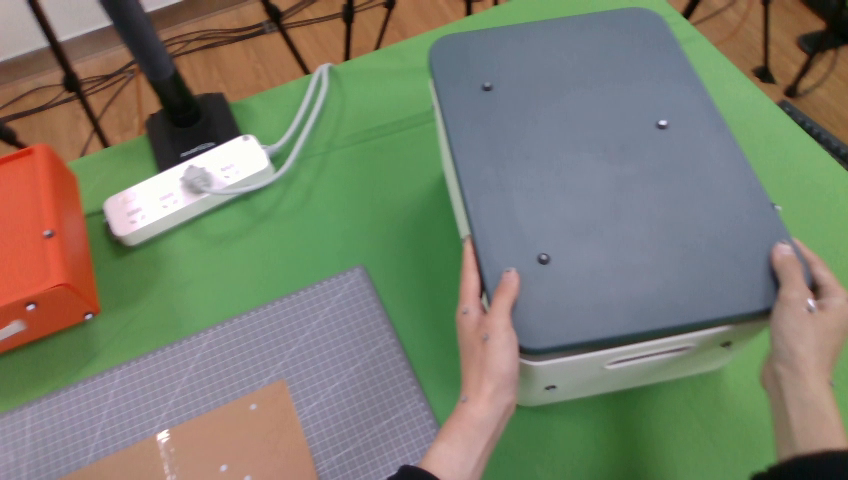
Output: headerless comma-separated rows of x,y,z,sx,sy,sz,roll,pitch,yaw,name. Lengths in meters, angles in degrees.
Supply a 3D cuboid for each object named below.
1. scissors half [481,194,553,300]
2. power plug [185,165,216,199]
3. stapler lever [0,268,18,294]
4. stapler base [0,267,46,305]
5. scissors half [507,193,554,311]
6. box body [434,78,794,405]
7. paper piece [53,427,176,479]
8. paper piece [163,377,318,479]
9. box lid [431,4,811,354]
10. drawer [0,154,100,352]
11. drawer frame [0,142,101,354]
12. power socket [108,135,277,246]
0.117,0.002,0.723,0.040,0.013,0.174,31,59,14,scissors half
-0.278,-0.062,0.759,0.035,0.053,0.072,-19,59,-8,power plug
-0.496,0.041,0.650,0.118,0.040,0.026,3,75,11,stapler lever
-0.490,0.047,0.676,0.130,0.024,0.041,4,75,9,stapler base
0.135,0.010,0.720,0.040,0.013,0.174,20,58,1,scissors half
0.168,-0.026,0.656,0.254,0.162,0.360,-11,59,-3,box body
-0.307,0.276,0.595,0.136,0.009,0.137,-24,62,-7,paper piece
-0.187,0.224,0.617,0.135,0.004,0.134,-22,60,-9,paper piece
0.161,-0.081,0.569,0.263,0.015,0.367,-10,60,-2,box lid
-0.482,0.021,0.670,0.194,0.074,0.209,-22,59,-8,drawer
-0.484,0.020,0.671,0.202,0.083,0.211,-22,59,-9,drawer frame
-0.299,-0.067,0.790,0.227,0.033,0.071,-28,62,-13,power socket
